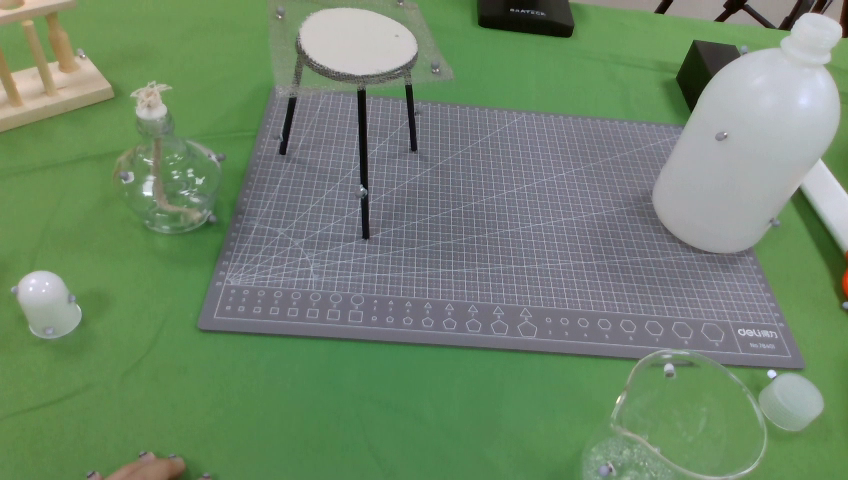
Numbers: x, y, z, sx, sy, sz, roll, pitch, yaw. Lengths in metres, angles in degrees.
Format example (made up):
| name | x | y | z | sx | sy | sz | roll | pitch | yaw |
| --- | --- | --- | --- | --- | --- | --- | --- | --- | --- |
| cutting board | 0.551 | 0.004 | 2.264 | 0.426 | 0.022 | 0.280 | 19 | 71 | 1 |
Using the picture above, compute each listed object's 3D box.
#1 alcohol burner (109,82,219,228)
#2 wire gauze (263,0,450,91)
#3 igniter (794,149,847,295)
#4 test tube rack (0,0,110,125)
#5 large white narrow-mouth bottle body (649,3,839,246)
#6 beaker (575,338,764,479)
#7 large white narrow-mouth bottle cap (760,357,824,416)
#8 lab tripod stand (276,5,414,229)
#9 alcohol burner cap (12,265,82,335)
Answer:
| name | x | y | z | sx | sy | sz | roll | pitch | yaw |
| --- | --- | --- | --- | --- | --- | --- | --- | --- | --- |
| alcohol burner | -0.196 | -0.066 | 0.452 | 0.078 | 0.120 | 0.077 | 6 | 47 | -6 |
| wire gauze | -0.053 | -0.150 | 0.440 | 0.122 | 0.011 | 0.123 | -5 | 51 | -15 |
| igniter | 0.378 | 0.008 | 0.521 | 0.057 | 0.025 | 0.273 | -24 | 41 | 23 |
| test tube rack | -0.406 | -0.137 | 0.500 | 0.242 | 0.086 | 0.066 | -29 | 59 | -30 |
| large white narrow-mouth bottle body | 0.261 | -0.091 | 0.486 | 0.102 | 0.196 | 0.101 | 4 | 48 | -4 |
| beaker | 0.132 | 0.116 | 0.351 | 0.084 | 0.101 | 0.073 | -5 | 49 | -11 |
| large white narrow-mouth bottle cap | 0.263 | 0.105 | 0.434 | 0.038 | 0.024 | 0.037 | 4 | 48 | -4 |
| lab tripod stand | -0.057 | -0.104 | 0.489 | 0.149 | 0.132 | 0.147 | 6 | 49 | -6 |
| alcohol burner cap | -0.250 | 0.038 | 0.399 | 0.034 | 0.048 | 0.033 | 5 | 48 | -6 |
